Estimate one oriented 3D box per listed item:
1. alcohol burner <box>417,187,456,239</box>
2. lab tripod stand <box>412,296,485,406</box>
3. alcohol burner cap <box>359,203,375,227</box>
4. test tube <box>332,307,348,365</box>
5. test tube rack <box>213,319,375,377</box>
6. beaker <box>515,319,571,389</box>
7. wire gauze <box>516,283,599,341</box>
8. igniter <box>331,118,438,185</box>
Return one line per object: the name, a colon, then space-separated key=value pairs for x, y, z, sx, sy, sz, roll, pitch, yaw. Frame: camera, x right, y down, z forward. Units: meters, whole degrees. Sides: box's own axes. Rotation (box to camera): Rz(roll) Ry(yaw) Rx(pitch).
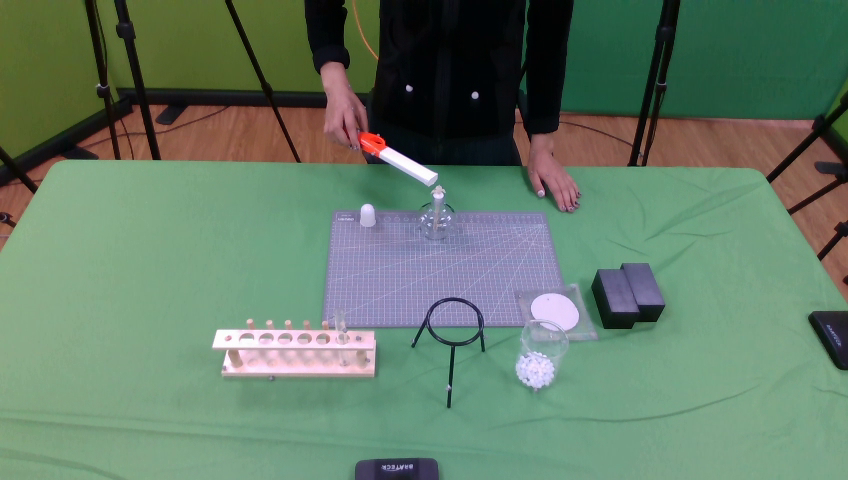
alcohol burner: x=0.025 y=-0.059 z=1.189 sx=0.078 sy=0.120 sz=0.077 roll=1 pitch=48 yaw=-1
lab tripod stand: x=0.045 y=0.168 z=0.963 sx=0.148 sy=0.132 sz=0.147 roll=3 pitch=47 yaw=-3
alcohol burner cap: x=-0.115 y=-0.053 z=1.224 sx=0.034 sy=0.048 sz=0.033 roll=3 pitch=47 yaw=-3
test tube: x=-0.128 y=0.151 z=0.931 sx=0.017 sy=0.151 sz=0.017 roll=1 pitch=50 yaw=-2
test tube rack: x=-0.202 y=0.170 z=0.977 sx=0.242 sy=0.085 sz=0.066 roll=1 pitch=46 yaw=-3
beaker: x=0.186 y=0.186 z=0.980 sx=0.074 sy=0.101 sz=0.083 roll=-23 pitch=51 yaw=-24
wire gauze: x=0.240 y=0.131 z=1.094 sx=0.125 sy=0.011 sz=0.120 roll=-3 pitch=48 yaw=-8
igniter: x=-0.087 y=-0.182 z=1.214 sx=0.275 sy=0.025 sz=0.057 roll=32 pitch=50 yaw=25
